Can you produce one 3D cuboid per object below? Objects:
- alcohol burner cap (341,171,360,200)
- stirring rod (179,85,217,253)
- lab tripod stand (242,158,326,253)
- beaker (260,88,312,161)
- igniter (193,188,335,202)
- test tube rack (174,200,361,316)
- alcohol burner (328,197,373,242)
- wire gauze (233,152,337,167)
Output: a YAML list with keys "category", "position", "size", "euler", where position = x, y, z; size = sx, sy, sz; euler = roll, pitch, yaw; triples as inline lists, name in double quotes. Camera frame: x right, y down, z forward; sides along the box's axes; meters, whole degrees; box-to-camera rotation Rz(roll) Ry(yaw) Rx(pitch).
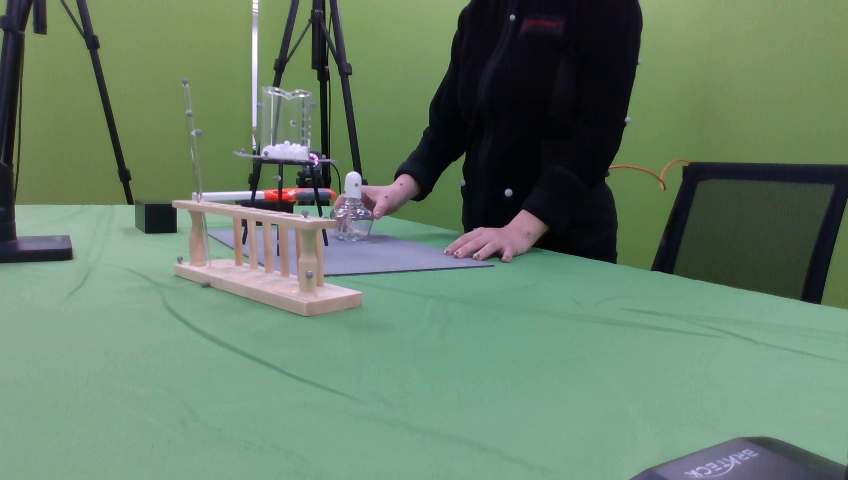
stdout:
- category: "alcohol burner cap"
  position: [-0.123, -0.093, 1.029]
  size: [0.034, 0.048, 0.034]
  euler: [3, 2, 0]
- category: "stirring rod"
  position: [-0.237, -0.073, 0.634]
  size: [0.006, 0.176, 0.014]
  euler: [0, 10, 42]
- category: "lab tripod stand"
  position: [-0.207, -0.054, 0.895]
  size: [0.148, 0.131, 0.148]
  euler: [3, 5, 0]
- category: "beaker"
  position: [-0.201, -0.166, 0.876]
  size: [0.074, 0.100, 0.083]
  euler: [1, 7, -18]
- category: "igniter"
  position: [-0.312, -0.089, 1.209]
  size: [0.278, 0.025, 0.057]
  euler: [-5, 13, -31]
- category: "test tube rack"
  position: [-0.169, 0.009, 0.622]
  size: [0.241, 0.085, 0.067]
  euler: [9, 9, 41]
- category: "alcohol burner"
  position: [-0.125, -0.058, 1.034]
  size: [0.078, 0.119, 0.078]
  euler: [1, 5, 0]
- category: "wire gauze"
  position: [-0.205, -0.119, 0.887]
  size: [0.122, 0.011, 0.124]
  euler: [2, 4, -32]
